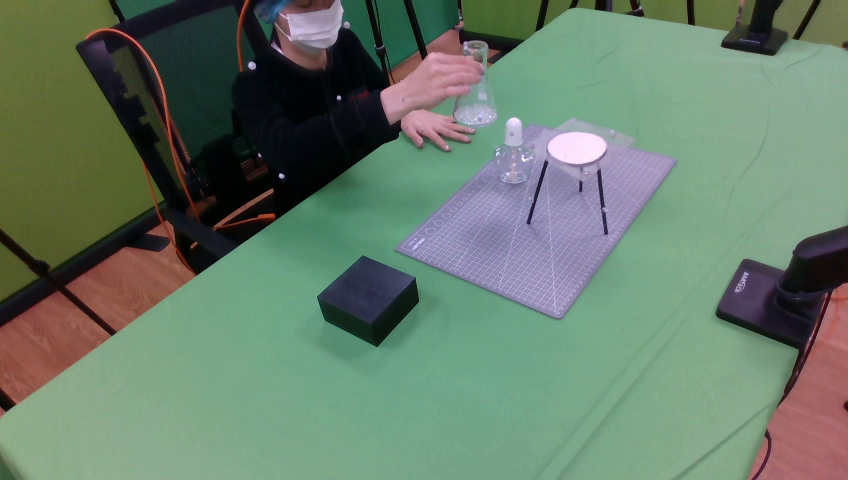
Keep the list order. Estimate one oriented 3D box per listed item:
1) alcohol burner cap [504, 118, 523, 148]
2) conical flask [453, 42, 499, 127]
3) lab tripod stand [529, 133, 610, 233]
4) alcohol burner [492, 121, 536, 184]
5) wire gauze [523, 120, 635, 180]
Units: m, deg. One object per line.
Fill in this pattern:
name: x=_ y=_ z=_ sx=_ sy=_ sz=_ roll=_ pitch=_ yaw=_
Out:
alcohol burner cap: x=0.154 y=-0.186 z=1.042 sx=0.034 sy=0.048 sz=0.033 roll=-4 pitch=33 yaw=3
conical flask: x=0.080 y=-0.245 z=0.949 sx=0.075 sy=0.122 sz=0.075 roll=-2 pitch=37 yaw=2
lab tripod stand: x=0.236 y=-0.089 z=0.953 sx=0.148 sy=0.132 sz=0.147 roll=-5 pitch=42 yaw=5
alcohol burner: x=0.159 y=-0.158 z=1.064 sx=0.078 sy=0.119 sz=0.077 roll=-3 pitch=41 yaw=3
wire gauze: x=0.233 y=-0.143 z=0.913 sx=0.122 sy=0.011 sz=0.124 roll=-32 pitch=45 yaw=-25
